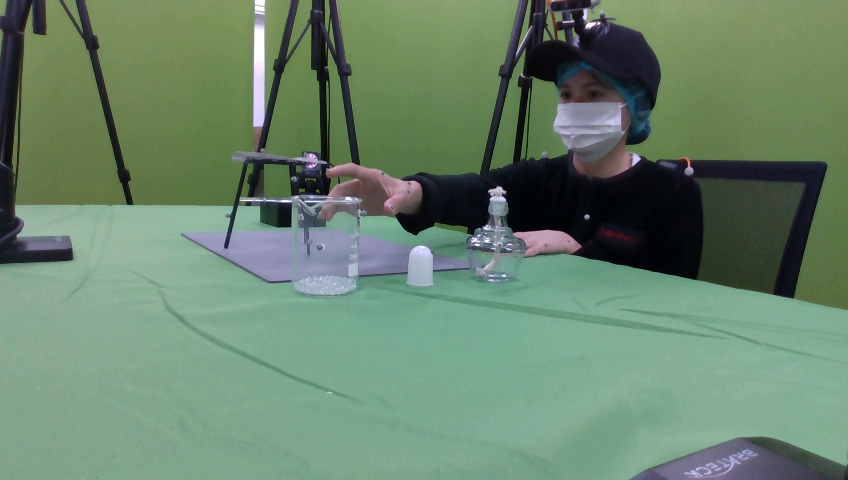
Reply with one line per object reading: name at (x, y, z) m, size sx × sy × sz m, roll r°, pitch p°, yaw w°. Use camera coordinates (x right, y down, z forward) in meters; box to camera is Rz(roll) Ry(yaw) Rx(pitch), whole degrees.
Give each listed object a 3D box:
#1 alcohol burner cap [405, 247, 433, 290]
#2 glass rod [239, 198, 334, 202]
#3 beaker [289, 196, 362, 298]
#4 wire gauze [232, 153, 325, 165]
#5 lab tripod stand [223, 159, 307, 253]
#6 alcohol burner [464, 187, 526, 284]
alcohol burner cap at (-0.005, 0.031, 0.698) m, size 0.034 × 0.048 × 0.034 m, roll 3°, pitch 8°, yaw 0°
glass rod at (-0.277, -0.081, 1.232) m, size 0.201 × 0.008 × 0.008 m, roll -1°, pitch 8°, yaw -30°
beaker at (-0.104, 0.006, 0.627) m, size 0.074 × 0.100 × 0.084 m, roll 3°, pitch 8°, yaw 11°
wire gauze at (-0.214, -0.118, 0.881) m, size 0.125 × 0.011 × 0.121 m, roll 0°, pitch 7°, yaw -19°
lab tripod stand at (-0.220, -0.053, 0.896) m, size 0.148 × 0.131 × 0.148 m, roll 1°, pitch 6°, yaw 0°
alcohol burner at (0.089, -0.007, 0.747) m, size 0.078 × 0.119 × 0.078 m, roll 4°, pitch 9°, yaw 0°
